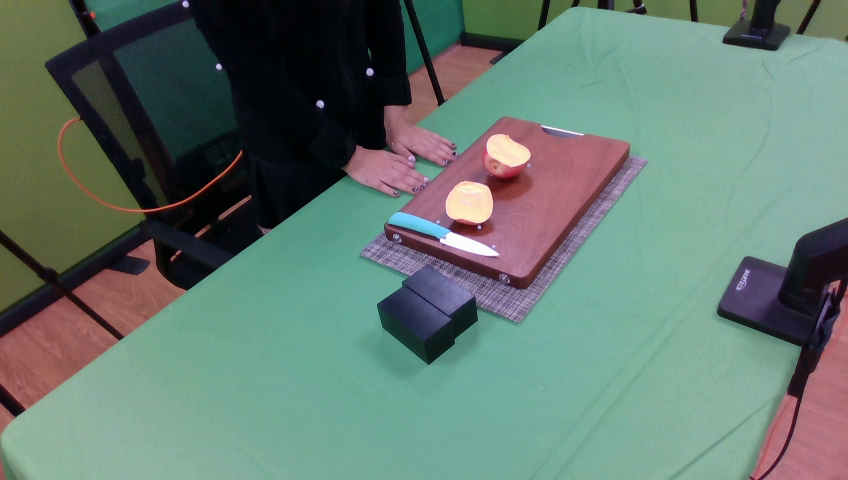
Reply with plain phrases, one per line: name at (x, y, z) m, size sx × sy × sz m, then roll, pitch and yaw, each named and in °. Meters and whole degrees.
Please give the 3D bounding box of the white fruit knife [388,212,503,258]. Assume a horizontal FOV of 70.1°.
white fruit knife at (0.032, -0.008, 0.950) m, size 0.206 × 0.016 × 0.027 m, roll 20°, pitch 77°, yaw 28°

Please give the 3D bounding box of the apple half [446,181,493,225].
apple half at (0.076, -0.056, 0.977) m, size 0.081 × 0.033 × 0.081 m, roll -3°, pitch 66°, yaw 7°

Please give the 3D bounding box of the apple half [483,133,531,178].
apple half at (0.138, -0.139, 1.050) m, size 0.080 × 0.053 × 0.075 m, roll 30°, pitch 47°, yaw 8°
